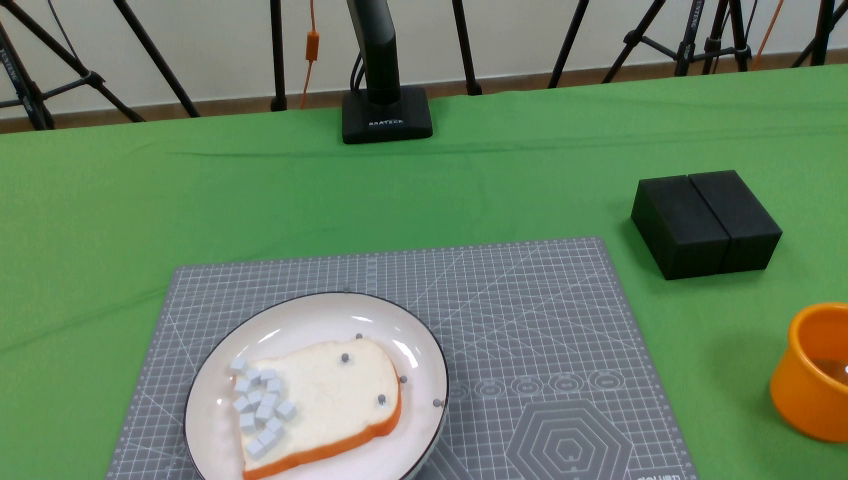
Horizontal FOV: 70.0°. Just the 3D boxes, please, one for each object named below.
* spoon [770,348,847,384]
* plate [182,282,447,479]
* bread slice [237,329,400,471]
[{"bbox_3d":[0.350,0.082,0.433,0.041,0.193,0.022,-41,98,-37],"label":"spoon"},{"bbox_3d":[-0.085,0.122,0.492,0.209,0.038,0.207,-1,44,1],"label":"plate"},{"bbox_3d":[-0.087,0.120,0.498,0.132,0.019,0.103,-15,46,-11],"label":"bread slice"}]
